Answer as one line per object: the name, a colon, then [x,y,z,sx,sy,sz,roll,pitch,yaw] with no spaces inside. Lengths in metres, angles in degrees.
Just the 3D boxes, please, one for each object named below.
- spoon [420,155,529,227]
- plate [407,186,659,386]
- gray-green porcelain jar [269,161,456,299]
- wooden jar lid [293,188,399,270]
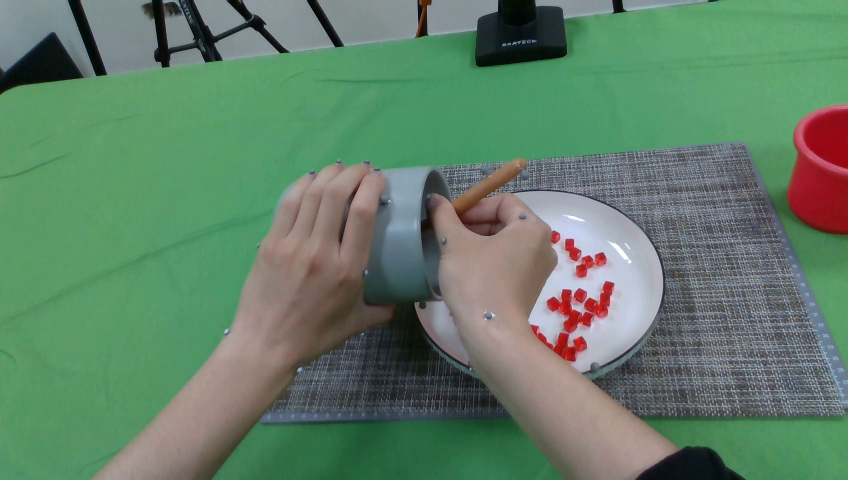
spoon: [-0.006,-0.017,0.453,0.193,0.022,0.041,-24,41,24]
plate: [0.089,0.037,0.517,0.207,0.039,0.205,-7,46,7]
gray-green porcelain jar: [-0.048,-0.006,0.478,0.126,0.107,0.105,-2,47,16]
wooden jar lid: [-0.078,-0.010,0.614,0.108,0.021,0.107,-6,45,6]
